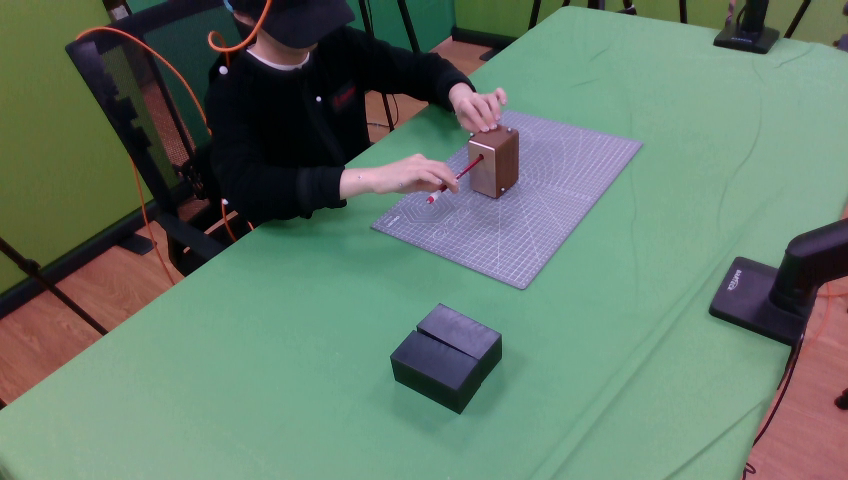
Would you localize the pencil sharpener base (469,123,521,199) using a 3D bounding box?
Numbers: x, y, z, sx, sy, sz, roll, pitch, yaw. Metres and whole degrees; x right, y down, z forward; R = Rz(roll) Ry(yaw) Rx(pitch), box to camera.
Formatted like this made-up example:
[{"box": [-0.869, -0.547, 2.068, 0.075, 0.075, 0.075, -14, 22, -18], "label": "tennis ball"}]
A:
[{"box": [0.126, -0.138, 1.050, 0.061, 0.107, 0.077, 24, 50, 33], "label": "pencil sharpener base"}]

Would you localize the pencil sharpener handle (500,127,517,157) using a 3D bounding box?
[{"box": [0.153, -0.178, 1.072, 0.036, 0.068, 0.031, 37, 55, 17], "label": "pencil sharpener handle"}]

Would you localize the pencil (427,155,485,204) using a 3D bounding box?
[{"box": [0.069, -0.112, 0.989, 0.012, 0.012, 0.194, 25, 50, 33], "label": "pencil"}]
